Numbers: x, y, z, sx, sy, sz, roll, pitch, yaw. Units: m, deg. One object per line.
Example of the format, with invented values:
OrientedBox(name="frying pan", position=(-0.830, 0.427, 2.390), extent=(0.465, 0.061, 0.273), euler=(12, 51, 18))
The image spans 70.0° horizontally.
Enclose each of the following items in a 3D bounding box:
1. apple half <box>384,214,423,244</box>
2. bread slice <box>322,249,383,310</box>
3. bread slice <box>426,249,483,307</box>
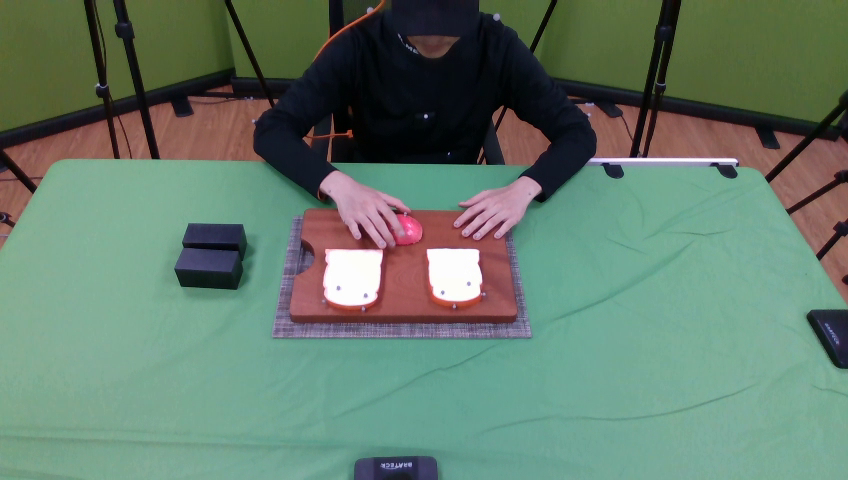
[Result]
OrientedBox(name="apple half", position=(-0.039, -0.028, 1.172), extent=(0.081, 0.033, 0.081), euler=(0, 44, 0))
OrientedBox(name="bread slice", position=(-0.126, 0.068, 1.083), extent=(0.107, 0.018, 0.133), euler=(-1, 47, -4))
OrientedBox(name="bread slice", position=(0.058, 0.066, 1.100), extent=(0.105, 0.019, 0.130), euler=(-1, 45, -3))
